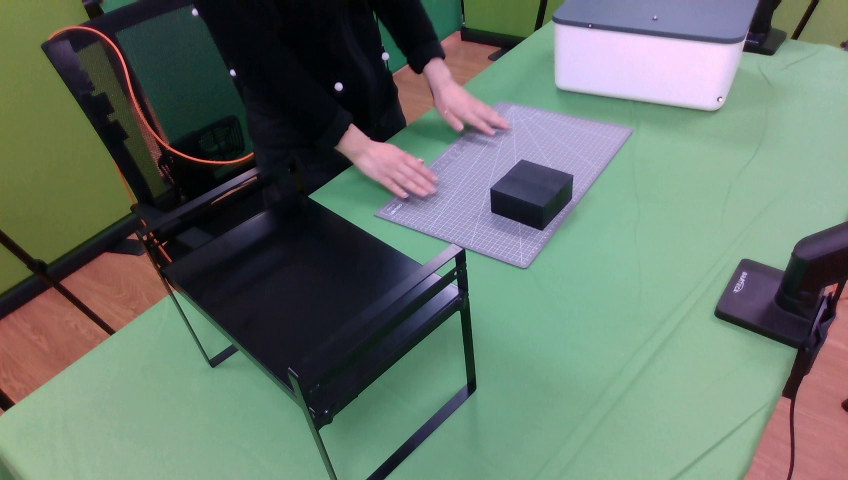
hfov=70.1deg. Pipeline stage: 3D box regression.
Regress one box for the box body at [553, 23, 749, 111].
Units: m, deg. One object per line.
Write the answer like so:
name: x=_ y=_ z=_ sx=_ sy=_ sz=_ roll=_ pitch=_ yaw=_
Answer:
box body: x=0.480 y=-0.417 z=1.282 sx=0.362 sy=0.161 sz=0.254 roll=16 pitch=46 yaw=25

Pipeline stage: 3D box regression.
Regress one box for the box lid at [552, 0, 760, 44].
box lid: x=0.471 y=-0.473 z=1.234 sx=0.369 sy=0.015 sz=0.263 roll=16 pitch=45 yaw=25

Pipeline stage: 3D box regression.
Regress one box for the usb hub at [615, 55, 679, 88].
usb hub: x=0.482 y=-0.366 z=1.309 sx=0.124 sy=0.025 sz=0.049 roll=25 pitch=48 yaw=24
